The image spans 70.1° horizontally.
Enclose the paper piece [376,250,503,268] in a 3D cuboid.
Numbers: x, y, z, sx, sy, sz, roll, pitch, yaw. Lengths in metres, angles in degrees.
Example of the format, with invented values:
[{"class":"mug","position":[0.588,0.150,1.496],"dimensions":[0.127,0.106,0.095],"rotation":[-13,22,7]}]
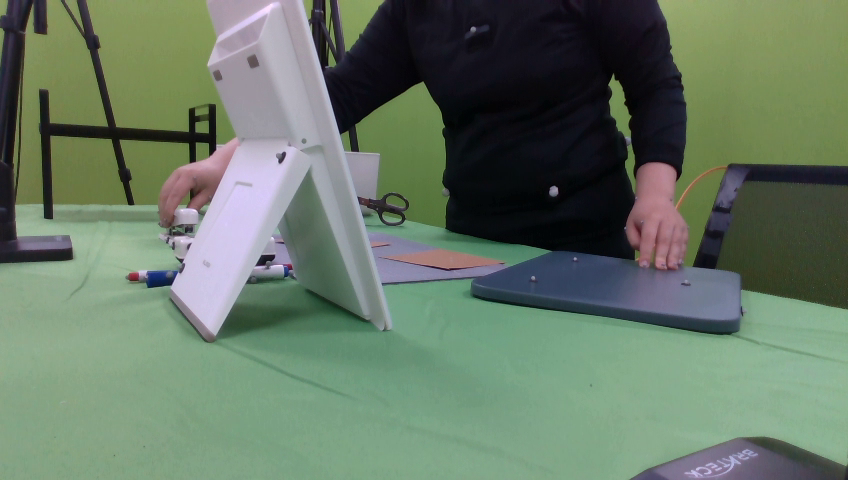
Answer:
[{"class":"paper piece","position":[0.025,0.026,0.864],"dimensions":[0.134,0.004,0.136],"rotation":[9,9,43]}]

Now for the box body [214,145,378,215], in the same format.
[{"class":"box body","position":[-0.328,-0.153,1.543],"dimensions":[0.366,0.160,0.253],"rotation":[-2,9,-32]}]

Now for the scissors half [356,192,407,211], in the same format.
[{"class":"scissors half","position":[-0.124,-0.091,1.315],"dimensions":[0.175,0.040,0.013],"rotation":[6,14,-4]}]

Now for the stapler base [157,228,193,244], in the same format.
[{"class":"stapler base","position":[-0.377,-0.008,0.935],"dimensions":[0.041,0.024,0.130],"rotation":[-2,6,-37]}]

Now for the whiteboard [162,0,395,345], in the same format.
[{"class":"whiteboard","position":[-0.173,-0.053,0.510],"dimensions":[0.144,0.305,0.216],"rotation":[-23,19,-26]}]

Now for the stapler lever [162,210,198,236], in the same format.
[{"class":"stapler lever","position":[-0.378,-0.031,0.932],"dimensions":[0.027,0.040,0.117],"rotation":[-2,9,-37]}]

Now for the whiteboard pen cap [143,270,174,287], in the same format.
[{"class":"whiteboard pen cap","position":[-0.272,0.040,0.626],"dimensions":[0.033,0.018,0.018],"rotation":[-2,9,-33]}]

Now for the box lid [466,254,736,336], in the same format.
[{"class":"box lid","position":[0.233,0.055,0.734],"dimensions":[0.262,0.015,0.373],"rotation":[7,7,27]}]

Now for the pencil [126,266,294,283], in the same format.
[{"class":"pencil","position":[-0.232,0.037,0.689],"dimensions":[0.195,0.012,0.012],"rotation":[-2,9,-33]}]

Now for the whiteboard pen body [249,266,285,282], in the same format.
[{"class":"whiteboard pen body","position":[-0.221,0.039,0.655],"dimensions":[0.141,0.017,0.017],"rotation":[-2,9,-30]}]

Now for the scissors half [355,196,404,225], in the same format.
[{"class":"scissors half","position":[-0.128,-0.072,1.319],"dimensions":[0.175,0.040,0.013],"rotation":[22,7,-7]}]

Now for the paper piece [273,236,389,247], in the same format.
[{"class":"paper piece","position":[-0.151,0.003,0.977],"dimensions":[0.135,0.008,0.139],"rotation":[13,10,35]}]

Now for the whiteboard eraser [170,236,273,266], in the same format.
[{"class":"whiteboard eraser","position":[-0.249,0.014,0.746],"dimensions":[0.113,0.042,0.055],"rotation":[-1,10,-32]}]
